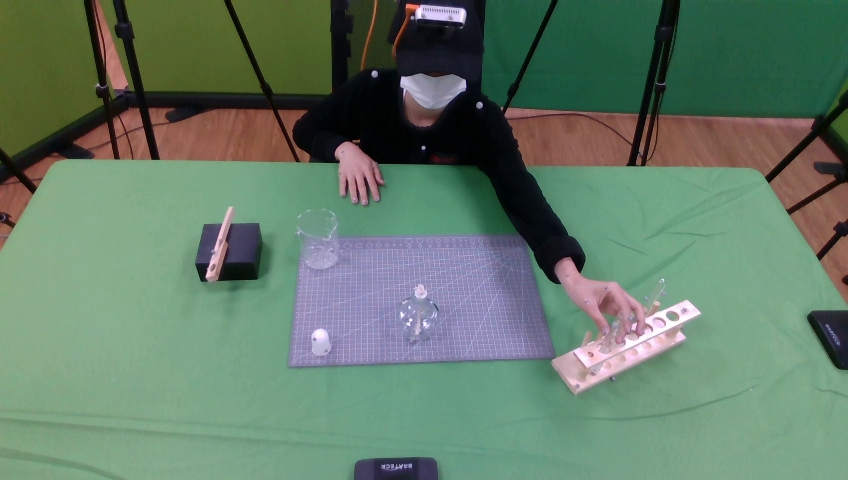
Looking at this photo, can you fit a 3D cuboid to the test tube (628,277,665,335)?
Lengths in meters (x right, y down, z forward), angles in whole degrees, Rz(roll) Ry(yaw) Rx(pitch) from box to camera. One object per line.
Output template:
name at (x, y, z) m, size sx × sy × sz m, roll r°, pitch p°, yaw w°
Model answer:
test tube at (0.371, 0.112, 1.014) m, size 0.017 × 0.151 × 0.017 m, roll 3°, pitch 47°, yaw -3°

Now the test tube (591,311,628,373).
test tube at (0.288, 0.162, 0.949) m, size 0.017 × 0.151 × 0.017 m, roll 4°, pitch 44°, yaw -4°

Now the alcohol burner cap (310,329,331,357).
alcohol burner cap at (-0.173, 0.168, 1.005) m, size 0.034 × 0.048 × 0.033 m, roll 2°, pitch 46°, yaw -2°

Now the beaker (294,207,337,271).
beaker at (-0.196, 0.003, 1.123) m, size 0.074 × 0.101 × 0.083 m, roll -23°, pitch 53°, yaw -24°

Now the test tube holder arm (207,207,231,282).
test tube holder arm at (-0.371, 0.004, 1.101) m, size 0.013 × 0.015 × 0.177 m, roll -5°, pitch 46°, yaw -1°

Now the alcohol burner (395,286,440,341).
alcohol burner at (-0.010, 0.116, 1.018) m, size 0.078 × 0.119 × 0.077 m, roll 3°, pitch 47°, yaw -3°

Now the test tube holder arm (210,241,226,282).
test tube holder arm at (-0.363, 0.036, 1.070) m, size 0.010 × 0.015 × 0.087 m, roll -4°, pitch 46°, yaw 0°

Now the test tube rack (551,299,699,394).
test tube rack at (0.339, 0.166, 1.021) m, size 0.242 × 0.085 × 0.066 m, roll -19°, pitch 50°, yaw -21°
